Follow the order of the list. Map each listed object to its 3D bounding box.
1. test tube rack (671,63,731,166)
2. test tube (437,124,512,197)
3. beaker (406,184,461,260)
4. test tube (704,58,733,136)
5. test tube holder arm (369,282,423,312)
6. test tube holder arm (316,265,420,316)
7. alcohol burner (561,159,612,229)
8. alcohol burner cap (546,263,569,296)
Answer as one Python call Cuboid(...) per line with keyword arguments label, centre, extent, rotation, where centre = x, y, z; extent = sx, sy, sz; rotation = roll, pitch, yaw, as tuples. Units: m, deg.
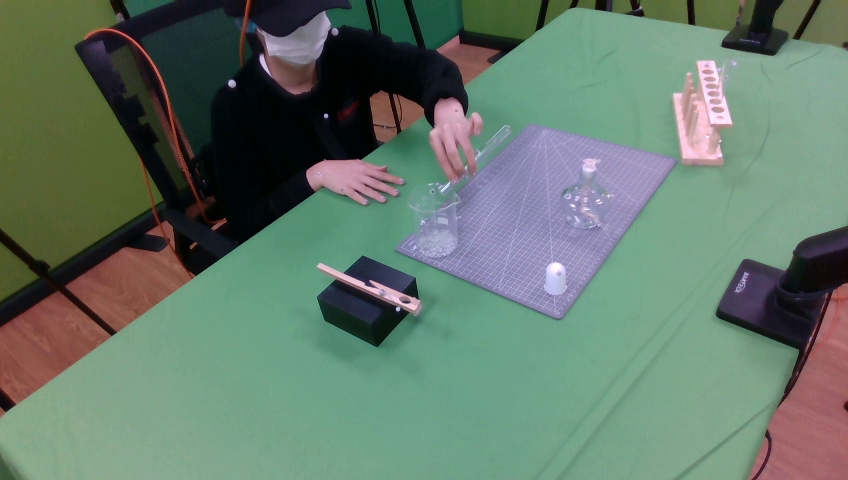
Cuboid(label="test tube rack", centre=(0.513, -0.240, 1.132), extent=(0.066, 0.085, 0.242), rotation=(4, 41, 14))
Cuboid(label="test tube", centre=(0.077, -0.121, 0.911), extent=(0.150, 0.017, 0.017), rotation=(-44, 46, -2))
Cuboid(label="beaker", centre=(0.019, -0.026, 0.939), extent=(0.084, 0.101, 0.074), rotation=(1, 41, 10))
Cuboid(label="test tube", centre=(0.516, -0.247, 1.062), extent=(0.017, 0.151, 0.017), rotation=(-3, 43, 4))
Cuboid(label="test tube holder arm", centre=(-0.040, 0.076, 0.817), extent=(0.087, 0.015, 0.010), rotation=(18, 55, 28))
Cuboid(label="test tube holder arm", centre=(-0.081, 0.068, 0.836), extent=(0.177, 0.015, 0.013), rotation=(18, 55, 28))
Cuboid(label="alcohol burner", centre=(0.257, -0.077, 0.951), extent=(0.078, 0.119, 0.077), rotation=(-3, 40, 3))
Cuboid(label="alcohol burner cap", centre=(0.191, 0.053, 0.862), extent=(0.034, 0.048, 0.033), rotation=(-5, 40, 4))
